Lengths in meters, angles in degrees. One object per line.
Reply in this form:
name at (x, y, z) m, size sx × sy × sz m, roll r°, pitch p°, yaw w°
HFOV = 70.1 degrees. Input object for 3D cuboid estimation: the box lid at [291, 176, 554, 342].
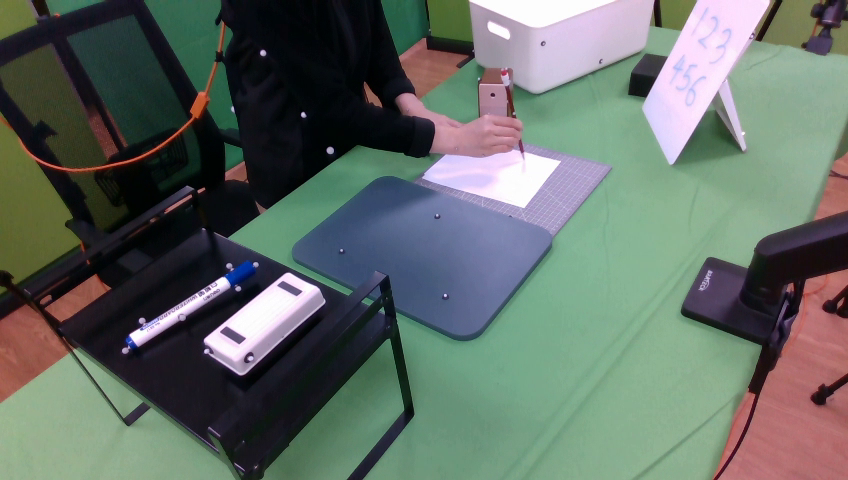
box lid at (-0.005, 0.011, 0.972) m, size 0.368 × 0.015 × 0.264 m, roll 21°, pitch 49°, yaw 30°

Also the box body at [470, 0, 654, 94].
box body at (0.319, -0.498, 1.405) m, size 0.365 × 0.161 × 0.252 m, roll -26°, pitch 43°, yaw -21°

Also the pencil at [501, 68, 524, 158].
pencil at (0.160, -0.219, 1.071) m, size 0.012 × 0.195 × 0.012 m, roll -12°, pitch 44°, yaw 12°

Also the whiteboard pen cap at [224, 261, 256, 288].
whiteboard pen cap at (-0.207, 0.039, 0.677) m, size 0.033 × 0.018 × 0.018 m, roll -35°, pitch 47°, yaw -18°

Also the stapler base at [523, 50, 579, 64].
stapler base at (0.301, -0.436, 1.434) m, size 0.130 × 0.024 × 0.041 m, roll 5°, pitch 40°, yaw 17°

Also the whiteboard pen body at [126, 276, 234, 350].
whiteboard pen body at (-0.251, 0.070, 0.649) m, size 0.141 × 0.017 × 0.017 m, roll -36°, pitch 48°, yaw -26°

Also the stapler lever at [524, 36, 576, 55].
stapler lever at (0.296, -0.456, 1.418) m, size 0.117 × 0.040 × 0.027 m, roll 4°, pitch 40°, yaw 17°

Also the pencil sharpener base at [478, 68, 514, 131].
pencil sharpener base at (0.148, -0.286, 1.225) m, size 0.061 × 0.107 × 0.076 m, roll 5°, pitch 41°, yaw 15°

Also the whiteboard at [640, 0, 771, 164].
whiteboard at (0.543, -0.299, 1.076) m, size 0.144 × 0.305 × 0.216 m, roll 12°, pitch 40°, yaw -7°

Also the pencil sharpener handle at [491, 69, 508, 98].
pencil sharpener handle at (0.155, -0.329, 1.254) m, size 0.036 × 0.068 × 0.030 m, roll 17°, pitch 43°, yaw 4°

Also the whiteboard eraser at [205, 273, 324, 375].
whiteboard eraser at (-0.157, 0.084, 0.605) m, size 0.055 × 0.042 × 0.113 m, roll 24°, pitch 49°, yaw 30°
